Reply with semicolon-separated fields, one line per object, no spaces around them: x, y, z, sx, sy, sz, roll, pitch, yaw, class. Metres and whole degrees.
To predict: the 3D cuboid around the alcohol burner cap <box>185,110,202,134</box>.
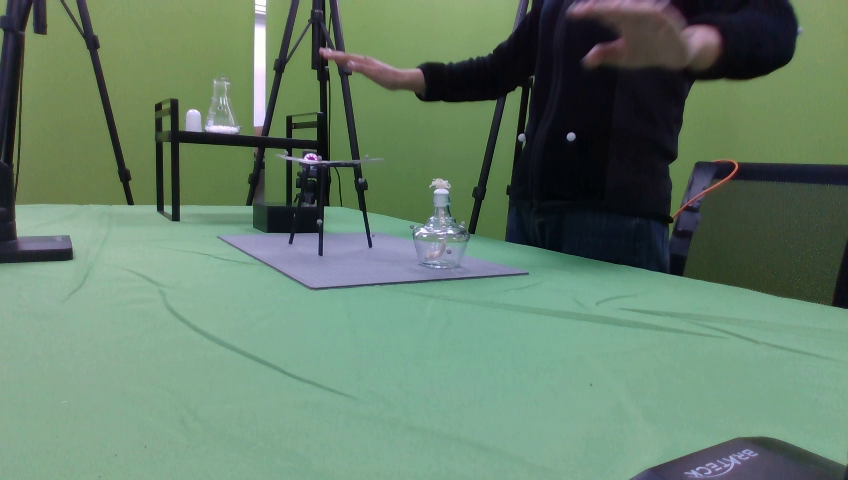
-0.470;-0.241;1.234;0.034;0.048;0.034;3;7;0;alcohol burner cap

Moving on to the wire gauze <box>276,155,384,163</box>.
-0.142;-0.118;0.900;0.122;0.011;0.124;-3;8;-37;wire gauze

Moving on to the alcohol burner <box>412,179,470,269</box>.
0.022;-0.021;0.805;0.078;0.119;0.078;0;8;0;alcohol burner

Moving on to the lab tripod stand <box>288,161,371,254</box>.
-0.148;-0.052;0.909;0.148;0.131;0.148;1;8;0;lab tripod stand

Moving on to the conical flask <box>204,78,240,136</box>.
-0.443;-0.292;1.327;0.075;0.122;0.075;3;7;0;conical flask
